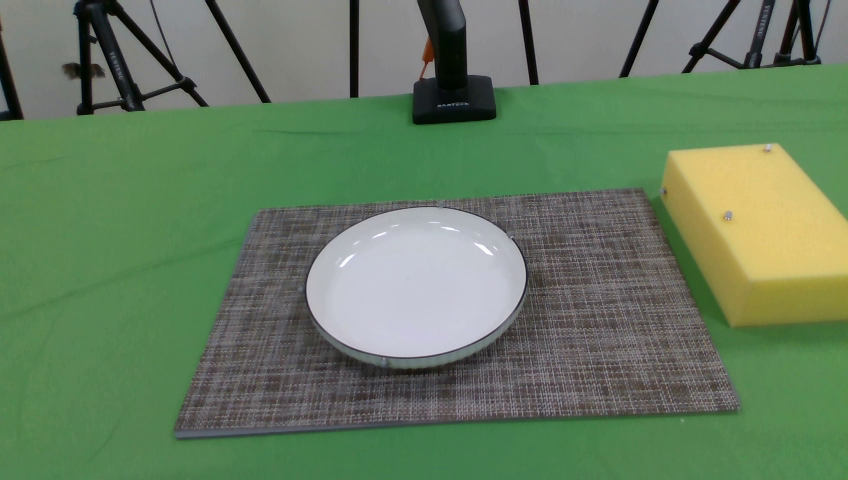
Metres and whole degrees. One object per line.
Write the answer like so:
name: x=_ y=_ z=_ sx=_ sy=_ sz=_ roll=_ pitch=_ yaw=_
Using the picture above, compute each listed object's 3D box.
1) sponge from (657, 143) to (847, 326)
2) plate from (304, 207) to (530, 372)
sponge: x=0.323 y=-0.014 z=0.590 sx=0.118 sy=0.061 sz=0.204 roll=-5 pitch=39 yaw=1
plate: x=-0.006 y=0.045 z=0.571 sx=0.207 sy=0.039 sz=0.205 roll=-3 pitch=39 yaw=3
